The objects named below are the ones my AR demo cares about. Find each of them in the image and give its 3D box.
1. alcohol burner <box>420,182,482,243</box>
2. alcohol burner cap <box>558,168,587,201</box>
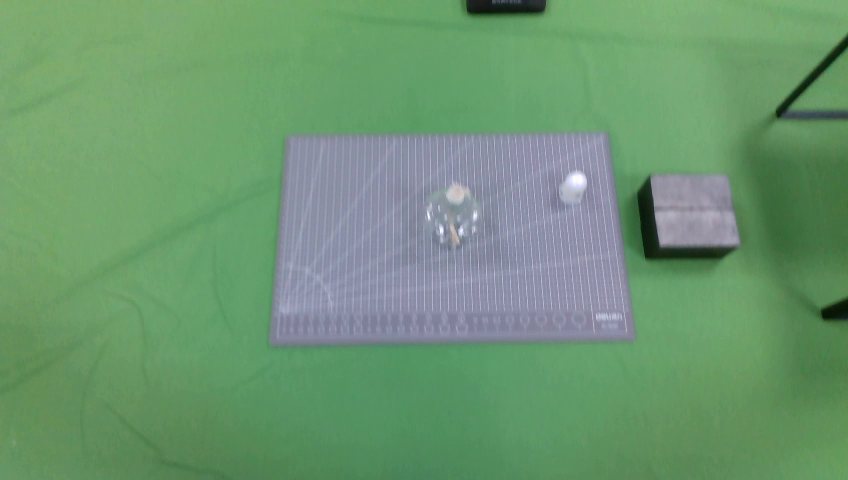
[{"bbox_3d":[0.035,-0.041,0.743,0.078,0.120,0.077,1,70,-3],"label":"alcohol burner"},{"bbox_3d":[0.197,-0.075,0.796,0.034,0.048,0.033,1,69,-1],"label":"alcohol burner cap"}]
